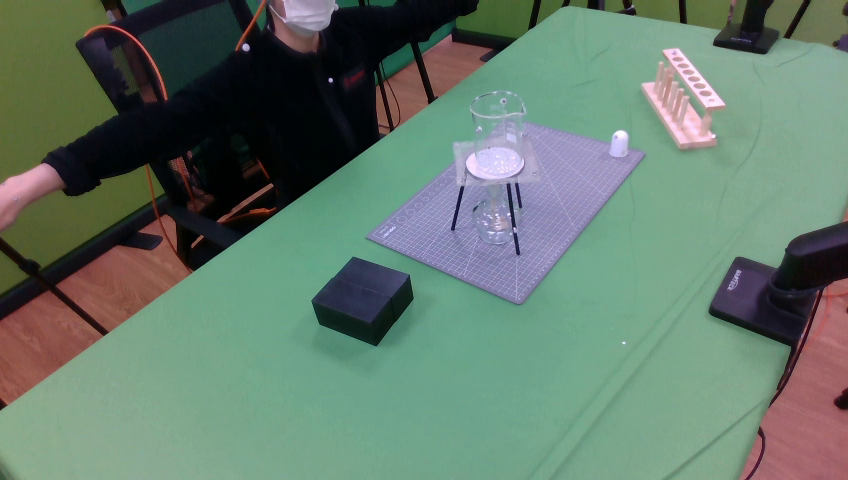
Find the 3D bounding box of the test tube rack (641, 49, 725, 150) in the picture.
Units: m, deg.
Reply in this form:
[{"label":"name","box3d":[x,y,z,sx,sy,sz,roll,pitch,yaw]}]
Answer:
[{"label":"test tube rack","box3d":[0.495,-0.279,1.175,0.067,0.085,0.241,-5,41,3]}]

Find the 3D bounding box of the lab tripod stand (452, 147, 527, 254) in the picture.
[{"label":"lab tripod stand","box3d":[0.111,-0.066,0.943,0.148,0.132,0.147,-5,42,5]}]

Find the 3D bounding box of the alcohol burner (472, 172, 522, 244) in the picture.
[{"label":"alcohol burner","box3d":[0.112,-0.053,0.942,0.078,0.119,0.077,-6,40,5]}]

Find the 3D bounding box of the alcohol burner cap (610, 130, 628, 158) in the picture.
[{"label":"alcohol burner cap","box3d":[0.359,-0.177,1.106,0.034,0.048,0.033,-5,41,5]}]

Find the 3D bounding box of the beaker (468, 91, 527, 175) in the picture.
[{"label":"beaker","box3d":[0.108,-0.151,0.865,0.083,0.101,0.074,16,47,26]}]

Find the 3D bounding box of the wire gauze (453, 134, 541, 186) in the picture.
[{"label":"wire gauze","box3d":[0.106,-0.118,0.903,0.125,0.011,0.121,-6,39,7]}]
